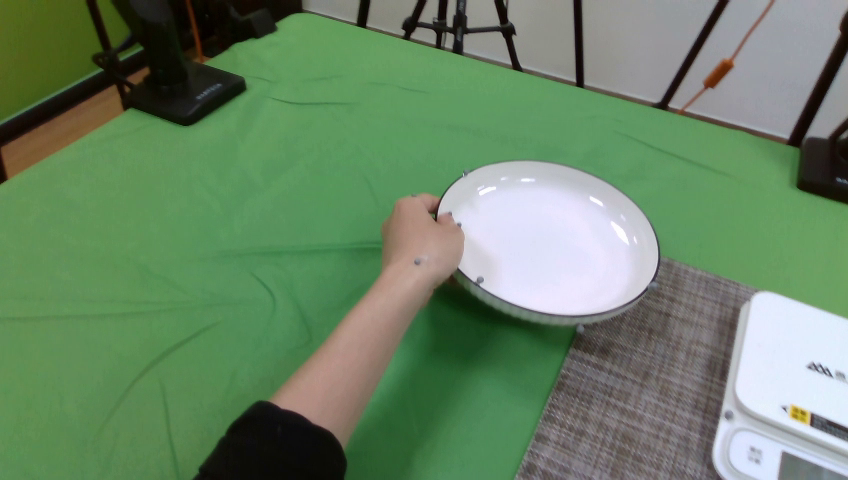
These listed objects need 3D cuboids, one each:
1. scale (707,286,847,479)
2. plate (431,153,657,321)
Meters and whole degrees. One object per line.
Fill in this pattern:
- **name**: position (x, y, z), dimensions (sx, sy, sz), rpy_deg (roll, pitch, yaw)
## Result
- **scale**: position (0.322, 0.131, 0.494), dimensions (0.148, 0.032, 0.200), rpy_deg (21, 47, 18)
- **plate**: position (0.109, -0.005, 0.568), dimensions (0.209, 0.038, 0.207), rpy_deg (3, 46, -3)
